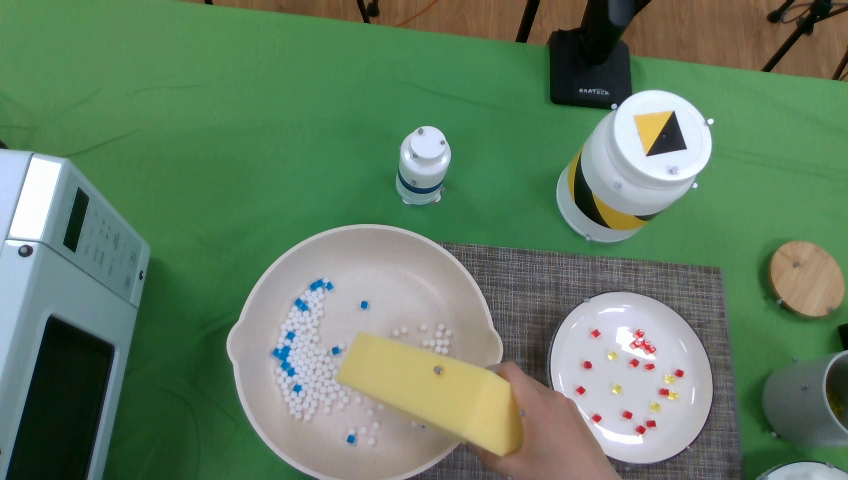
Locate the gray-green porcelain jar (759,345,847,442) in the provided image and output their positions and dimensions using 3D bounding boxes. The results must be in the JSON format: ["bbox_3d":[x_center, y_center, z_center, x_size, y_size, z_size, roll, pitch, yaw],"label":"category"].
[{"bbox_3d":[0.481,0.187,0.728,0.106,0.127,0.105,2,71,-6],"label":"gray-green porcelain jar"}]

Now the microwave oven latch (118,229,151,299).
[{"bbox_3d":[-0.341,0.026,0.703,0.030,0.029,0.078,8,72,-5],"label":"microwave oven latch"}]

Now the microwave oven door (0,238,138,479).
[{"bbox_3d":[-0.346,0.201,0.538,0.039,0.245,0.353,5,71,-5],"label":"microwave oven door"}]

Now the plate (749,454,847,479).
[{"bbox_3d":[0.459,0.361,0.716,0.208,0.039,0.206,2,71,-6],"label":"plate"}]

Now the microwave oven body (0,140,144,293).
[{"bbox_3d":[-0.488,0.148,0.542,0.326,0.261,0.439,6,72,-6],"label":"microwave oven body"}]

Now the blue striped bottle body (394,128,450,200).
[{"bbox_3d":[-0.003,-0.101,0.764,0.063,0.121,0.062,2,71,-6],"label":"blue striped bottle body"}]

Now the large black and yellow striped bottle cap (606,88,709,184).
[{"bbox_3d":[0.262,-0.118,0.680,0.115,0.019,0.114,2,70,-6],"label":"large black and yellow striped bottle cap"}]

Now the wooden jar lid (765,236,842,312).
[{"bbox_3d":[0.521,0.048,0.836,0.108,0.021,0.107,2,73,-6],"label":"wooden jar lid"}]

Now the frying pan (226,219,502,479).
[{"bbox_3d":[-0.069,0.214,0.658,0.307,0.103,0.484,4,63,-4],"label":"frying pan"}]

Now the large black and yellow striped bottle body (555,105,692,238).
[{"bbox_3d":[0.253,-0.091,0.761,0.131,0.185,0.130,2,71,-6],"label":"large black and yellow striped bottle body"}]

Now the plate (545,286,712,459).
[{"bbox_3d":[0.249,0.160,0.750,0.209,0.038,0.208,2,72,-6],"label":"plate"}]

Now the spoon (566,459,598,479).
[{"bbox_3d":[0.235,0.332,0.702,0.193,0.022,0.041,45,55,7],"label":"spoon"}]

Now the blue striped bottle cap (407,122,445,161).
[{"bbox_3d":[0.003,-0.117,0.715,0.044,0.021,0.044,2,69,-5],"label":"blue striped bottle cap"}]

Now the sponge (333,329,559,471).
[{"bbox_3d":[0.015,0.157,0.614,0.119,0.205,0.060,37,70,-35],"label":"sponge"}]
